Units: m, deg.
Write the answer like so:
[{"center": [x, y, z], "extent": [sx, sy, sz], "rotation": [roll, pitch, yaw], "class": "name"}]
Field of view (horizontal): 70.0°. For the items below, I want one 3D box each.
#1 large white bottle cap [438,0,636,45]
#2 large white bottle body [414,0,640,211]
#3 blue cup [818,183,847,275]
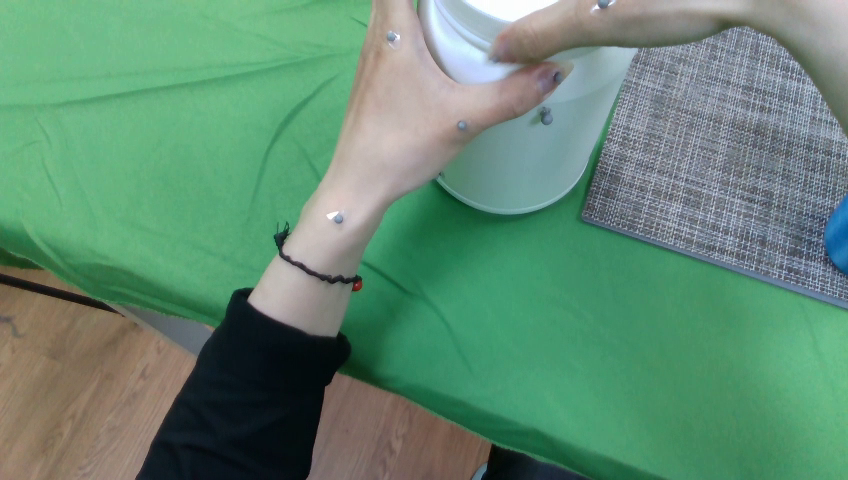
[{"center": [0.058, -0.150, 0.314], "extent": [0.115, 0.018, 0.114], "rotation": [-1, 66, 2], "class": "large white bottle cap"}, {"center": [0.059, -0.114, 0.392], "extent": [0.130, 0.186, 0.129], "rotation": [0, 66, 0], "class": "large white bottle body"}, {"center": [0.312, -0.018, 0.391], "extent": [0.092, 0.101, 0.092], "rotation": [-1, 65, 2], "class": "blue cup"}]
